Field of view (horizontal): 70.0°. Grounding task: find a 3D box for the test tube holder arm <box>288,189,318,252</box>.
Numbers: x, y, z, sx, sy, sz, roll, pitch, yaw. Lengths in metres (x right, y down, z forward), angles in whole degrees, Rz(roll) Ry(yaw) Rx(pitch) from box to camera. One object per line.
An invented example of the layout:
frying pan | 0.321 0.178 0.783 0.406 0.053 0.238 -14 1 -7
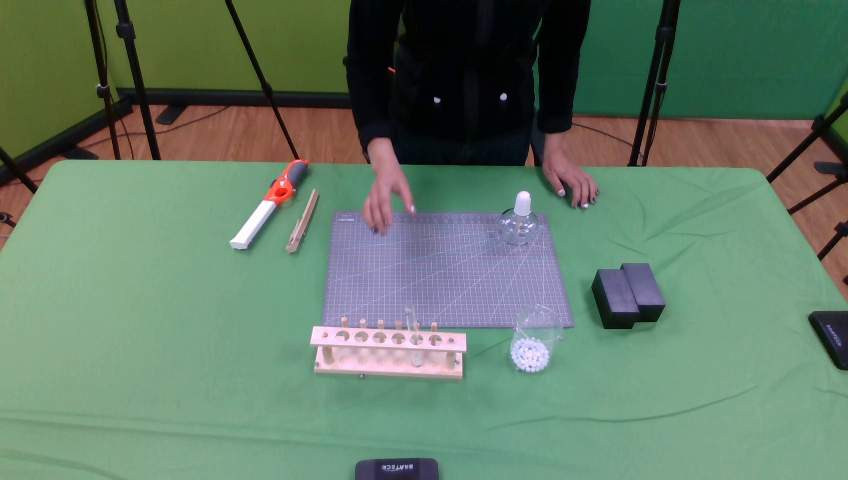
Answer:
test tube holder arm | -0.242 -0.043 1.223 0.013 0.015 0.177 -16 38 26

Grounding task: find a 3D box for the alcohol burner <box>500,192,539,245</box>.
alcohol burner | 0.190 -0.048 1.190 0.078 0.120 0.077 1 47 -1

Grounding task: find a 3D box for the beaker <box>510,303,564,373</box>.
beaker | 0.182 0.164 1.000 0.074 0.101 0.083 2 46 -1

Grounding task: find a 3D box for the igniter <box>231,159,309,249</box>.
igniter | -0.313 -0.082 1.251 0.057 0.025 0.275 8 45 18

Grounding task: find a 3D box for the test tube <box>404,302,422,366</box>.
test tube | -0.017 0.149 0.941 0.017 0.151 0.017 -3 44 3

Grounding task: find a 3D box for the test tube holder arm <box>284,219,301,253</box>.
test tube holder arm | -0.254 -0.010 1.194 0.010 0.015 0.087 -15 39 27

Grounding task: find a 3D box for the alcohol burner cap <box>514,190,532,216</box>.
alcohol burner cap | 0.192 -0.074 1.166 0.034 0.048 0.033 1 40 -1

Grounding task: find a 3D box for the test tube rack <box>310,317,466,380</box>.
test tube rack | -0.056 0.171 0.987 0.242 0.085 0.066 3 45 -1
